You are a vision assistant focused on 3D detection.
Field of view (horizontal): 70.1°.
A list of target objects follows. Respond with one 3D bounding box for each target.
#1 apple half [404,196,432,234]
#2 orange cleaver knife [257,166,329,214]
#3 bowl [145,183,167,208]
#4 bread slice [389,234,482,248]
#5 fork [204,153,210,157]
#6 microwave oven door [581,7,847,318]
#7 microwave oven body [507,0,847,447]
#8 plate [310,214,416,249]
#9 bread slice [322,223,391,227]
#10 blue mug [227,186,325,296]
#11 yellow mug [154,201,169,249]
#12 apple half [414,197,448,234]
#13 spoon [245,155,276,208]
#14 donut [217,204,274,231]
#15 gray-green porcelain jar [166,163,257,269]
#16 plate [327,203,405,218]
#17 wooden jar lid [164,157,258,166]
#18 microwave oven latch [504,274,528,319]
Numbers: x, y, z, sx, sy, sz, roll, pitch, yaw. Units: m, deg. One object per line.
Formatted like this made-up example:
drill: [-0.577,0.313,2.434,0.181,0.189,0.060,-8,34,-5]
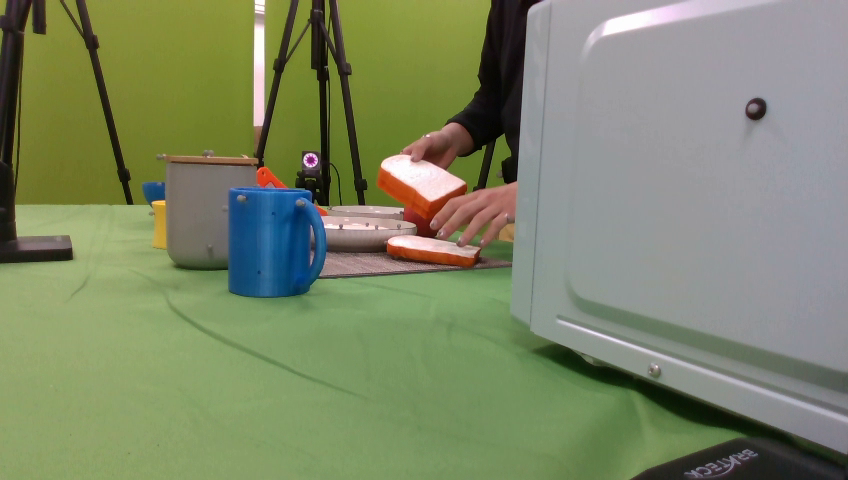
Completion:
apple half: [-0.006,-0.048,1.150,0.081,0.074,0.053,-7,7,-40]
orange cleaver knife: [-0.296,-0.086,1.333,0.012,0.077,0.212,2,-24,46]
bowl: [-0.459,-0.069,1.175,0.151,0.077,0.151,3,7,0]
bread slice: [0.016,0.002,0.873,0.131,0.019,0.105,0,-1,2]
fork: [-0.480,-0.136,1.412,0.028,0.018,0.207,0,-34,-1]
microwave oven door: [0.295,-0.067,0.569,0.358,0.243,0.039,-3,8,-31]
microwave oven body: [0.331,-0.042,0.425,0.444,0.260,0.324,-2,8,-31]
plate: [-0.117,-0.014,0.967,0.208,0.039,0.207,2,7,0]
bread slice: [-0.116,-0.013,0.974,0.135,0.018,0.106,-7,11,-42]
blue mug: [-0.147,0.000,0.618,0.116,0.106,0.083,7,9,32]
yellow mug: [-0.337,-0.022,0.899,0.130,0.064,0.100,8,9,34]
apple half: [0.021,-0.044,1.121,0.082,0.081,0.032,-4,4,-39]
spoon: [-0.421,-0.150,1.540,0.042,0.193,0.021,-5,-35,-37]
donut: [-0.318,-0.038,1.080,0.099,0.048,0.099,3,7,0]
gray-green porcelain jar: [-0.263,-0.032,0.754,0.106,0.126,0.106,2,7,0]
plate: [-0.102,-0.053,1.299,0.209,0.038,0.209,2,8,0]
wooden jar lid: [-0.261,-0.093,0.746,0.108,0.020,0.108,0,9,0]
microwave oven latch: [0.100,0.041,0.470,0.079,0.029,0.030,-1,7,-27]
